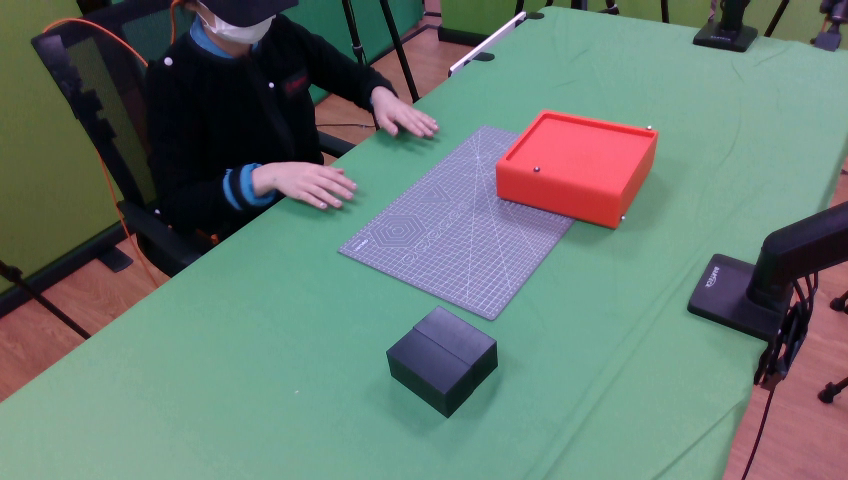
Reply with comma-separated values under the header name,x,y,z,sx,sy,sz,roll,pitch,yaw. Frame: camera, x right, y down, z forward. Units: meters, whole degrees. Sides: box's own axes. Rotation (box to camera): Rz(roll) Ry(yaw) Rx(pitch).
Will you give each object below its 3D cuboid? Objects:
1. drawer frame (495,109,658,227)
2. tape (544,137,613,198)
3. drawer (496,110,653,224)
name,x,y,z,sx,sy,sz,roll,pitch,yaw
drawer frame,0.260,-0.130,1.031,0.212,0.083,0.202,18,46,26
tape,0.263,-0.124,1.034,0.117,0.053,0.116,-5,40,5
drawer,0.257,-0.130,1.032,0.210,0.073,0.195,18,46,26
